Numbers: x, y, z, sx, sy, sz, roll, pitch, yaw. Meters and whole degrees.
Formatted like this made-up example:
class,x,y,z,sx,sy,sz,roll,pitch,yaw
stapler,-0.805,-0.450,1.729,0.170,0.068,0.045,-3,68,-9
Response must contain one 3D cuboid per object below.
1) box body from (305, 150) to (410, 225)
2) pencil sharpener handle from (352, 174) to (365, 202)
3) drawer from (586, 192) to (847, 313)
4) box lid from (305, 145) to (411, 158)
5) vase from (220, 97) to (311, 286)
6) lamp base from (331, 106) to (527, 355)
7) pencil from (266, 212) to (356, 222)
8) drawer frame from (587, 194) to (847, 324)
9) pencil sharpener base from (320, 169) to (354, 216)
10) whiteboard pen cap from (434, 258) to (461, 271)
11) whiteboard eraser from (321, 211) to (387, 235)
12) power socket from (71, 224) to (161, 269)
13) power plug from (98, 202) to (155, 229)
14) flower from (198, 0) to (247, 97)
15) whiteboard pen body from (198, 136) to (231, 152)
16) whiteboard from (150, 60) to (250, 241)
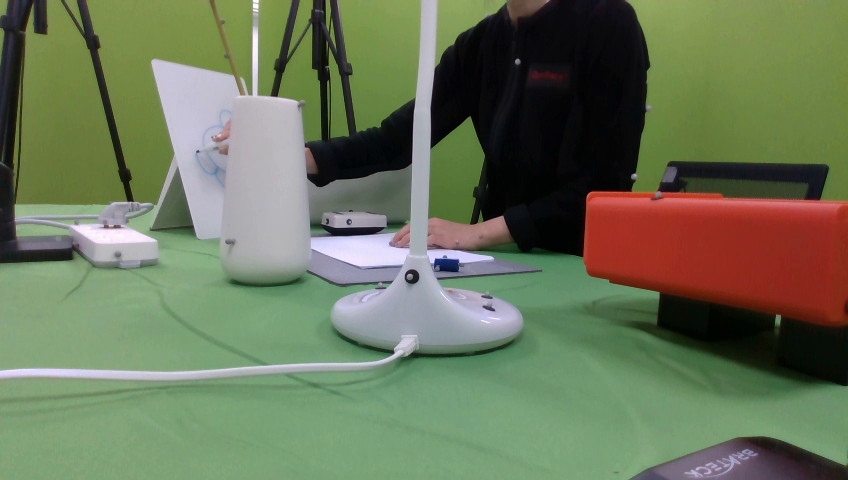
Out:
class,x,y,z,sx,sy,sz,roll,pitch,yaw
box body,-0.230,-0.126,1.372,0.366,0.160,0.253,-2,9,-33
pencil sharpener handle,-0.156,-0.125,1.450,0.031,0.068,0.036,1,20,-11
drawer,0.281,0.001,0.513,0.195,0.073,0.210,-1,8,-29
box lid,-0.228,-0.200,1.361,0.373,0.015,0.262,-1,8,-33
vase,-0.172,-0.052,0.662,0.098,0.200,0.098,3,9,0
lamp base,0.006,-0.012,0.478,0.161,0.180,0.179,2,10,2
pencil,-0.244,-0.049,1.318,0.195,0.012,0.012,4,7,-12
drawer frame,0.285,0.004,0.508,0.203,0.082,0.212,-1,6,-29
pencil sharpener base,-0.207,-0.113,1.439,0.077,0.107,0.061,1,6,-11
whiteboard pen cap,0.029,0.031,0.770,0.033,0.018,0.018,4,8,8
whiteboard eraser,-0.128,-0.031,1.108,0.113,0.042,0.055,-4,8,-38
power socket,-0.408,0.004,0.793,0.072,0.032,0.225,-2,8,-38
power plug,-0.416,-0.027,0.848,0.073,0.052,0.035,0,8,-28
flower,-0.187,-0.133,0.648,0.038,0.362,0.044,0,22,43
whiteboard pen body,-0.312,-0.163,0.985,0.140,0.017,0.017,-13,2,18
whiteboard,-0.408,-0.139,1.093,0.143,0.305,0.218,-15,-1,26
